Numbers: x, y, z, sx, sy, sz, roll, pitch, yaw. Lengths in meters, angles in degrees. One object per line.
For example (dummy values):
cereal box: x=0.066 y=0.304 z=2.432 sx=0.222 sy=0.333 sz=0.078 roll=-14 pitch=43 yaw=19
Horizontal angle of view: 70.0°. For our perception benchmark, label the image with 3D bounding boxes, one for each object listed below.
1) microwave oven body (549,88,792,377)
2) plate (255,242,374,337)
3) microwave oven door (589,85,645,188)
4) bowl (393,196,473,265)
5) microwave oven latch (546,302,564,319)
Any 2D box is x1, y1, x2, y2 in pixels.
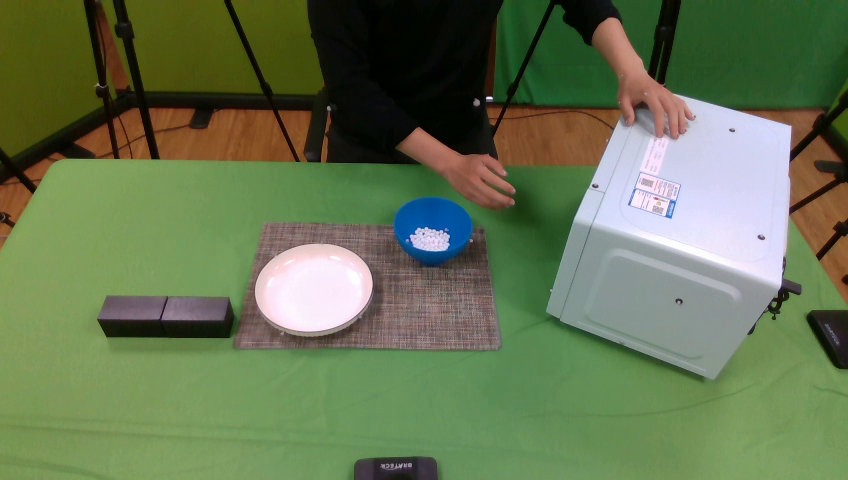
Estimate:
microwave oven body: x=0.456 y=-0.028 z=1.088 sx=0.325 sy=0.261 sz=0.440 roll=20 pitch=47 yaw=16
plate: x=-0.192 y=0.090 z=1.079 sx=0.208 sy=0.039 sz=0.206 roll=2 pitch=46 yaw=-2
microwave oven door: x=0.342 y=-0.107 z=1.149 sx=0.039 sy=0.245 sz=0.354 roll=20 pitch=48 yaw=15
bowl: x=0.014 y=-0.005 z=1.159 sx=0.151 sy=0.077 sz=0.150 roll=2 pitch=46 yaw=-2
microwave oven latch: x=0.242 y=0.102 z=1.081 sx=0.030 sy=0.029 sz=0.079 roll=22 pitch=48 yaw=17
